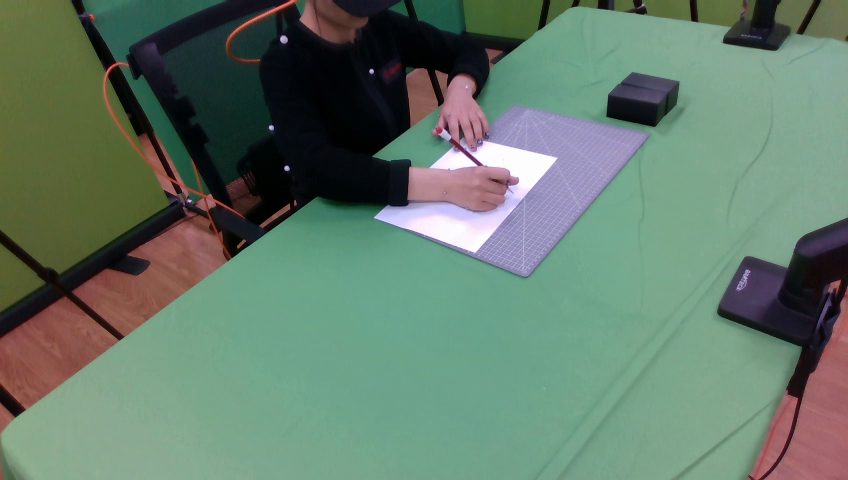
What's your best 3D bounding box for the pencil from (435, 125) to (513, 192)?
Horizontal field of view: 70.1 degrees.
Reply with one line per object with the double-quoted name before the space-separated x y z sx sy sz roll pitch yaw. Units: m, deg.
"pencil" 0.088 -0.132 1.010 0.012 0.196 0.012 -34 37 31
